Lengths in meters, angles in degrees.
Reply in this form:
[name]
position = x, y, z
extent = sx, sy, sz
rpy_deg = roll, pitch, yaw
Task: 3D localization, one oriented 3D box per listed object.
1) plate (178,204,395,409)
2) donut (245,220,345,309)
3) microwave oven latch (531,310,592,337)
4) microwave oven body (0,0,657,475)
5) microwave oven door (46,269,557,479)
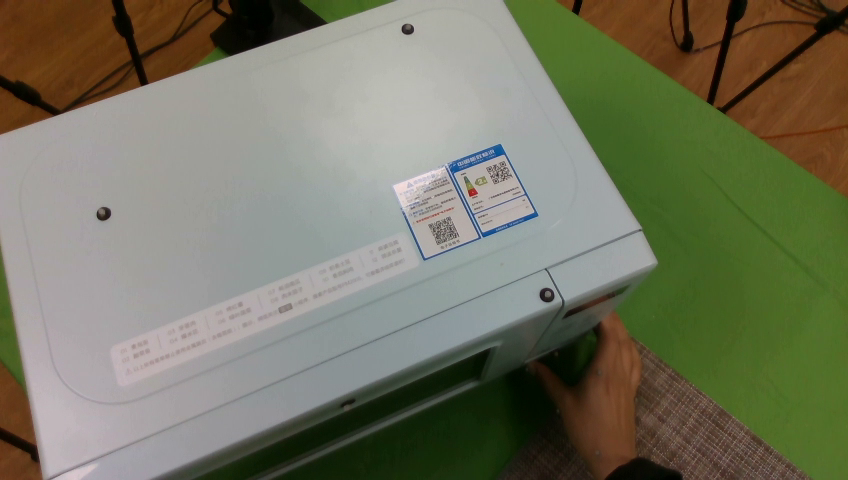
[plate]
position = -0.129, 0.063, 0.589
extent = 0.209, 0.038, 0.207
rpy_deg = -2, 63, 4
[donut]
position = -0.128, 0.024, 0.607
extent = 0.099, 0.048, 0.098
rpy_deg = 6, 57, -8
[microwave oven latch]
position = 0.134, 0.084, 0.638
extent = 0.079, 0.030, 0.030
rpy_deg = -10, 70, -3
[microwave oven body]
position = -0.090, -0.005, 0.569
extent = 0.442, 0.262, 0.323
rpy_deg = -22, 71, -7
[microwave oven door]
position = -0.071, 0.134, 0.510
extent = 0.356, 0.245, 0.039
rpy_deg = -22, 69, -8
